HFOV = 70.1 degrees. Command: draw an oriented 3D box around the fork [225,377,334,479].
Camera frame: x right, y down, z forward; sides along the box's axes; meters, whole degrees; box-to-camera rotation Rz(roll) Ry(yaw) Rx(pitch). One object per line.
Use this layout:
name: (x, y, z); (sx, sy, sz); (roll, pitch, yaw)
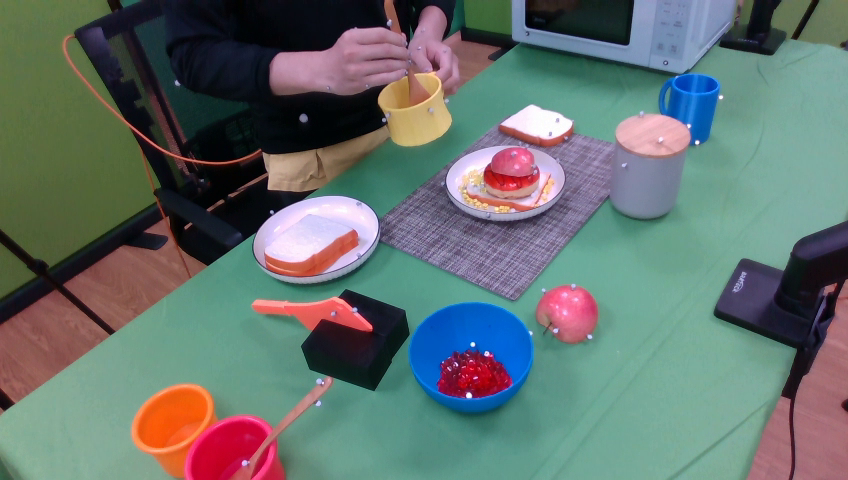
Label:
fork: (-0.163, 0.216, 0.646); (0.207, 0.019, 0.028); (-49, 42, 16)

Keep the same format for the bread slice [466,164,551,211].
bread slice: (0.141, -0.092, 1.042); (0.133, 0.018, 0.107); (11, 43, 19)

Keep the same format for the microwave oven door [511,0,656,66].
microwave oven door: (0.350, -0.539, 1.348); (0.353, 0.245, 0.039); (24, 50, 31)

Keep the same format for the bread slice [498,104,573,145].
bread slice: (0.231, -0.231, 1.205); (0.105, 0.019, 0.130); (-37, 47, -28)

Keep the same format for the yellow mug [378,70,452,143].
yellow mug: (-0.005, -0.212, 0.921); (0.099, 0.064, 0.131); (14, 50, 32)

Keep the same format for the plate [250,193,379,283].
plate: (-0.174, -0.001, 0.984); (0.209, 0.038, 0.208); (-4, 41, 4)

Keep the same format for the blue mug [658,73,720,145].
blue mug: (0.483, -0.250, 1.127); (0.082, 0.106, 0.115); (-26, 44, -19)

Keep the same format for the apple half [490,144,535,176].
apple half: (0.147, -0.139, 0.994); (0.081, 0.033, 0.081); (2, 39, -1)

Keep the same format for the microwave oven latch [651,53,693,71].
microwave oven latch: (0.532, -0.386, 1.301); (0.078, 0.029, 0.030); (27, 52, 34)

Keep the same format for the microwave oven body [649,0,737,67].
microwave oven body: (0.475, -0.602, 1.411); (0.438, 0.261, 0.327); (23, 50, 32)

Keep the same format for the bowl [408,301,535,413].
bowl: (0.059, 0.156, 0.739); (0.151, 0.077, 0.150); (-4, 40, 4)

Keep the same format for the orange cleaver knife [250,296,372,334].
orange cleaver knife: (-0.159, 0.103, 0.828); (0.210, 0.078, 0.012); (-4, 43, 39)

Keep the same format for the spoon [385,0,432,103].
spoon: (-0.024, -0.250, 0.849); (0.041, 0.195, 0.021); (-26, 43, -3)

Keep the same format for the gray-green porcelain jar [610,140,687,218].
gray-green porcelain jar: (0.354, -0.107, 0.964); (0.106, 0.127, 0.105); (-4, 41, 4)

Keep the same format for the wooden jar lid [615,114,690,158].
wooden jar lid: (0.347, -0.155, 0.923); (0.108, 0.021, 0.108); (-3, 44, 4)

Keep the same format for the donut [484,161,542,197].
donut: (0.149, -0.109, 1.016); (0.099, 0.048, 0.098); (-4, 40, 4)

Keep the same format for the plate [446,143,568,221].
plate: (0.142, -0.096, 1.045); (0.207, 0.039, 0.206); (-4, 40, 4)

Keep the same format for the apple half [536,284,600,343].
apple half: (0.196, 0.091, 0.815); (0.075, 0.053, 0.080); (-22, 42, -20)
